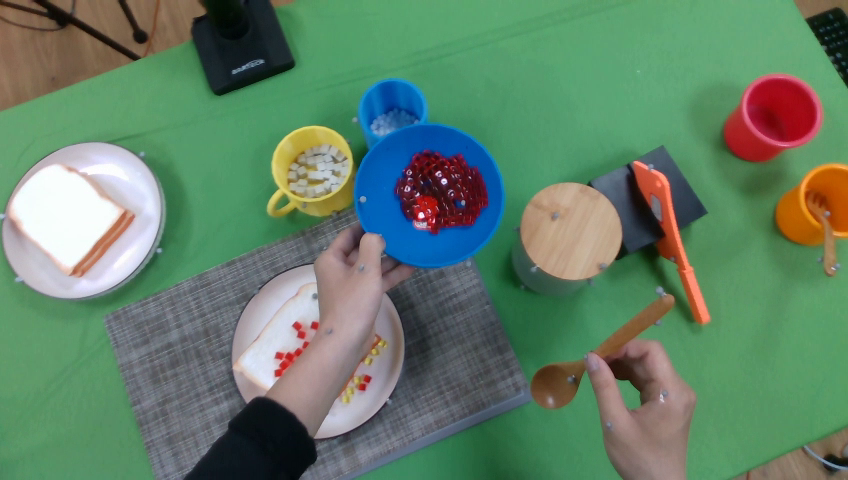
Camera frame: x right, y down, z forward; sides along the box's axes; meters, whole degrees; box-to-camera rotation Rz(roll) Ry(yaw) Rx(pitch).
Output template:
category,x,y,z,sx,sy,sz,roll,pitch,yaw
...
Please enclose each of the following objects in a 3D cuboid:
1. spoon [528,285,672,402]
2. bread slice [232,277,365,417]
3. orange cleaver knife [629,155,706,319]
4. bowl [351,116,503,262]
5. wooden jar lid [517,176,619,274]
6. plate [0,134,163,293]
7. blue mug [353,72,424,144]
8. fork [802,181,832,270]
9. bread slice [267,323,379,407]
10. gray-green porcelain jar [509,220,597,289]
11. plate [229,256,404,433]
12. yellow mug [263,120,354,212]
category,x,y,z,sx,sy,sz,roll,pitch,yaw
spoon,0.146,0.093,0.520,0.021,0.194,0.041,-28,72,-36
bread slice,-0.131,0.110,0.674,0.107,0.018,0.134,31,73,1
orange cleaver knife,0.292,-0.004,0.731,0.012,0.077,0.212,-25,104,-4
bowl,0.001,-0.044,0.630,0.151,0.077,0.150,1,77,-4
wooden jar lid,0.153,-0.015,0.650,0.108,0.021,0.108,0,79,-2
plate,-0.434,-0.033,0.779,0.207,0.039,0.206,0,77,1
blue mug,-0.040,-0.132,0.757,0.082,0.106,0.116,-3,77,1
fork,0.454,-0.021,0.696,0.028,0.019,0.207,39,37,3
bread slice,-0.132,0.136,0.732,0.104,0.019,0.131,32,77,9
gray-green porcelain jar,0.156,0.000,0.711,0.106,0.127,0.105,0,77,1
plate,-0.127,0.123,0.731,0.209,0.038,0.208,0,77,1
yellow mug,-0.152,-0.083,0.768,0.131,0.064,0.099,-44,79,-6
